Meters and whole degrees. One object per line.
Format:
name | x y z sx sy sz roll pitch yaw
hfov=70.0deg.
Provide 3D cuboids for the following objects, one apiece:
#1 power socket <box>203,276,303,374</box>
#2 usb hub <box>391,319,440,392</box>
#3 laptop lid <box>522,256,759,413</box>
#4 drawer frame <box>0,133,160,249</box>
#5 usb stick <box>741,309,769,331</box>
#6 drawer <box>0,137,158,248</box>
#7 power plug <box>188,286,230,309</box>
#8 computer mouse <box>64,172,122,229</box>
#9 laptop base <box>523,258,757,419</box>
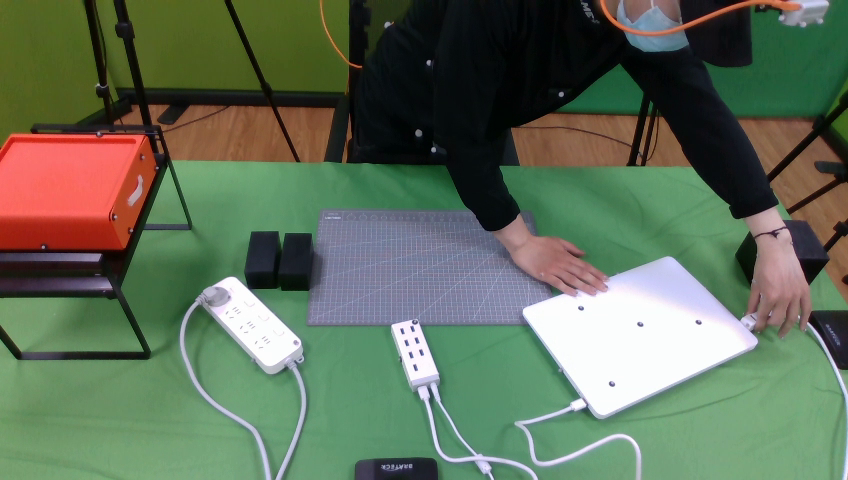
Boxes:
power socket | -0.296 0.141 1.034 0.225 0.033 0.072 37 55 27
usb hub | -0.015 0.191 1.013 0.049 0.025 0.124 -11 48 -15
laptop lid | 0.380 0.150 1.071 0.357 0.013 0.240 -16 47 -19
drawer frame | -0.552 -0.078 0.942 0.214 0.083 0.200 -1 47 -4
usb stick | 0.587 0.147 1.087 0.059 0.027 0.021 -21 46 -14
drawer | -0.549 -0.079 0.944 0.212 0.073 0.193 0 47 -4
power plug | -0.370 0.103 1.039 0.072 0.053 0.035 -26 54 -23
computer mouse | -0.521 -0.067 0.955 0.063 0.041 0.116 1 49 -9
laptop base | 0.380 0.160 1.078 0.355 0.023 0.234 -17 47 -20
